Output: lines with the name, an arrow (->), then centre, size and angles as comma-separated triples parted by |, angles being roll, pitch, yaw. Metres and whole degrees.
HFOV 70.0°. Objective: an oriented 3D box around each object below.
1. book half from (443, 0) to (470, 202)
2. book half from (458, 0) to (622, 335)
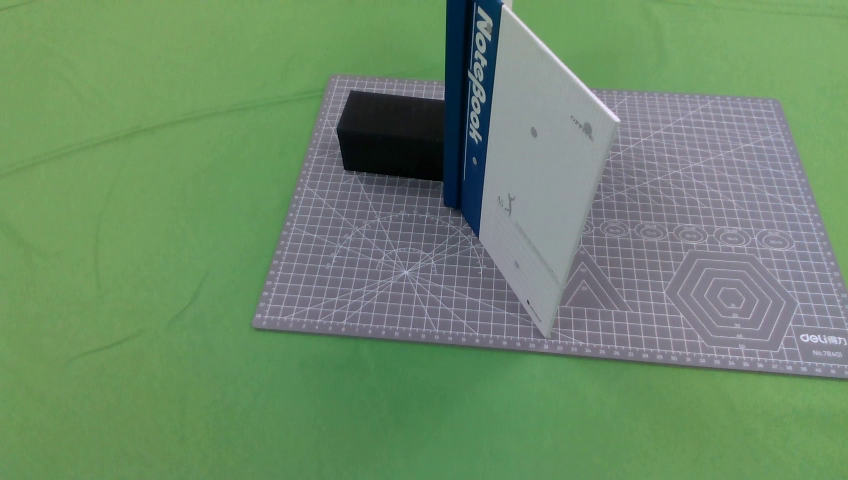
book half -> 0.041, -0.150, 0.476 | 0.016, 0.212, 0.147 | 13, 55, 10
book half -> 0.059, -0.043, 0.397 | 0.007, 0.212, 0.141 | -21, 56, -15
